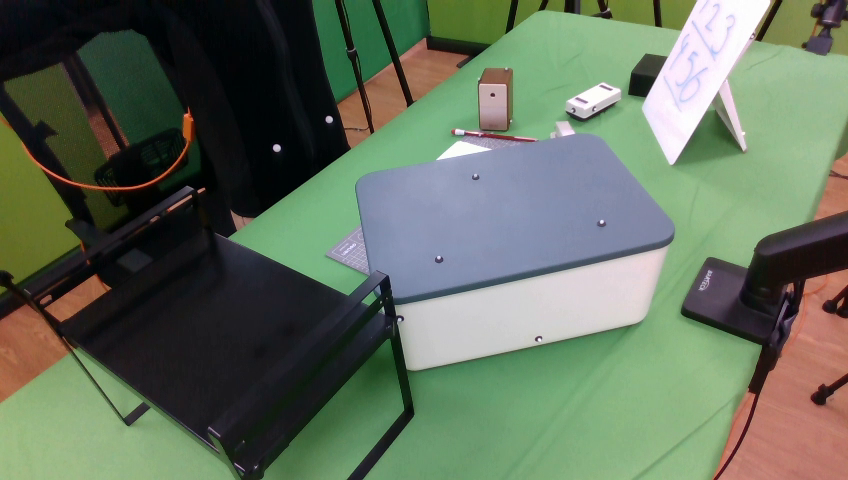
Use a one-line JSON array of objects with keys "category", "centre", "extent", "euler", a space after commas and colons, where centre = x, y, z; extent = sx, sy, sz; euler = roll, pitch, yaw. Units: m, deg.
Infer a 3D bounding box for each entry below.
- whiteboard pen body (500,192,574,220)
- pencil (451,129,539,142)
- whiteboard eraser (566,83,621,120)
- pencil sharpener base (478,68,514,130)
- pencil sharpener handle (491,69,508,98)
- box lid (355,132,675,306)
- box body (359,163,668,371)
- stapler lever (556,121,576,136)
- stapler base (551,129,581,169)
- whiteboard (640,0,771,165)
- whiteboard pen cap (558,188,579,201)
[{"category": "whiteboard pen body", "centre": [0.191, -0.059, 1.011], "extent": [0.141, 0.017, 0.017], "euler": [-18, 41, -16]}, {"category": "pencil", "centre": [0.146, -0.207, 1.205], "extent": [0.193, 0.012, 0.012], "euler": [10, 43, 19]}, {"category": "whiteboard eraser", "centre": [0.348, -0.283, 1.242], "extent": [0.113, 0.042, 0.055], "euler": [-30, 43, -24]}, {"category": "pencil sharpener base", "centre": [0.148, -0.286, 1.224], "extent": [0.061, 0.107, 0.076], "euler": [5, 41, 15]}, {"category": "pencil sharpener handle", "centre": [0.155, -0.329, 1.254], "extent": [0.036, 0.068, 0.030], "euler": [17, 43, 4]}, {"category": "box lid", "centre": [0.103, -0.042, 0.785], "extent": [0.372, 0.015, 0.261], "euler": [-12, 41, -5]}, {"category": "box body", "centre": [0.108, 0.014, 0.833], "extent": [0.365, 0.161, 0.252], "euler": [-11, 41, -5]}, {"category": "stapler lever", "centre": [0.266, -0.198, 1.128], "extent": [0.027, 0.040, 0.117], "euler": [0, 38, 3]}, {"category": "stapler base", "centre": [0.268, -0.178, 1.142], "extent": [0.041, 0.024, 0.130], "euler": [1, 37, 3]}, {"category": "whiteboard", "centre": [0.543, -0.299, 1.076], "extent": [0.144, 0.305, 0.216], "euler": [12, 40, -7]}, {"category": "whiteboard pen cap", "centre": [0.245, -0.077, 1.028], "extent": [0.033, 0.018, 0.018], "euler": [-18, 42, -15]}]
